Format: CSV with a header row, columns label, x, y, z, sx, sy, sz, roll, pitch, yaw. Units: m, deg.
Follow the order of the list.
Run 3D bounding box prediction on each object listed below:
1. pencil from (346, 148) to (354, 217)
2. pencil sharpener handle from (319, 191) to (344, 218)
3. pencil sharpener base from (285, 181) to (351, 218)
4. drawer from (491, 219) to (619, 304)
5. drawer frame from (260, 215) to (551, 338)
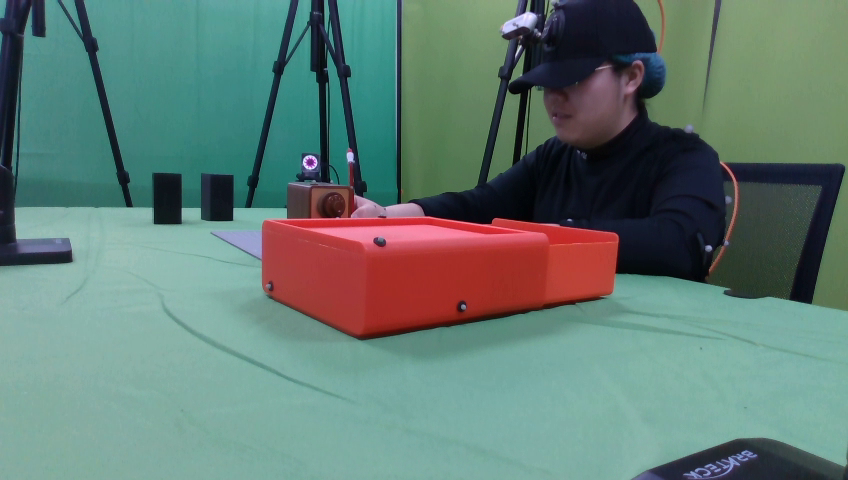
label,x,y,z,sx,sy,sz,roll,pitch,yaw
pencil,-0.127,-0.079,1.050,0.012,0.193,0.012,-5,-29,-2
pencil sharpener handle,-0.107,-0.026,0.747,0.036,0.067,0.030,-5,11,-36
pencil sharpener base,-0.139,-0.021,0.789,0.062,0.107,0.076,-2,9,-36
drawer,0.071,0.021,0.669,0.213,0.073,0.193,-3,9,-39
drawer frame,-0.021,0.024,0.595,0.215,0.082,0.200,-4,10,-38
